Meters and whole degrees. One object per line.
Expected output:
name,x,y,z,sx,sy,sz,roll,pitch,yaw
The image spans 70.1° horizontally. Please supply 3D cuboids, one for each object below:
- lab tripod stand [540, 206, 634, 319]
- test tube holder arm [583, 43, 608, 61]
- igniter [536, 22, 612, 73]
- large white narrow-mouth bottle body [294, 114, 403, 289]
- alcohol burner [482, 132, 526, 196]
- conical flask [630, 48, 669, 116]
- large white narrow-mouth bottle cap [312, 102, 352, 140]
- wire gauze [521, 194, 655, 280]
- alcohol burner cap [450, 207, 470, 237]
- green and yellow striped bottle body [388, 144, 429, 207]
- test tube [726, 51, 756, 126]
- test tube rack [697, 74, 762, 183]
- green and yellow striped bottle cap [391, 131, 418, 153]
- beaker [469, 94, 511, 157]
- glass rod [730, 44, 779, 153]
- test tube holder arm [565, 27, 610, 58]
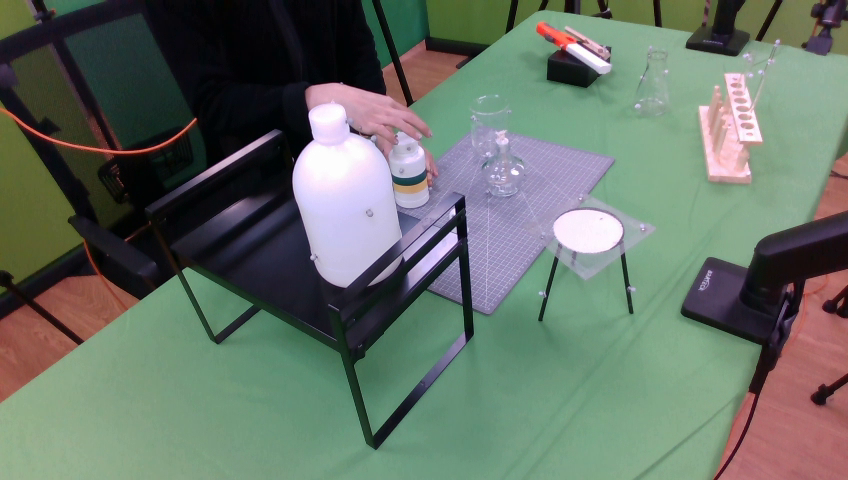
lab tripod stand,0.218,0.034,0.821,0.148,0.132,0.147,-4,42,4
test tube holder arm,0.379,-0.420,1.341,0.010,0.015,0.087,-39,41,10
igniter,0.330,-0.439,1.366,0.057,0.025,0.274,-12,41,-20
large white narrow-mouth bottle body,-0.082,-0.047,0.634,0.102,0.195,0.101,-4,39,4
alcohol burner,0.137,-0.136,1.042,0.078,0.119,0.077,-4,43,4
conical flask,0.456,-0.317,1.205,0.075,0.122,0.075,-4,41,4
large white narrow-mouth bottle cap,-0.089,-0.114,0.579,0.038,0.024,0.037,-3,39,3
wire gauze,0.207,-0.012,0.772,0.122,0.011,0.124,-28,44,-20
alcohol burner cap,0.057,-0.032,0.987,0.034,0.048,0.033,-4,41,4
green and yellow striped bottle body,-0.027,-0.121,1.042,0.063,0.120,0.063,-4,40,4
test tube,0.568,-0.268,1.086,0.017,0.151,0.017,-4,46,4
test tube rack,0.547,-0.208,1.095,0.066,0.085,0.242,5,42,15
green and yellow striped bottle cap,-0.032,-0.163,1.004,0.045,0.020,0.045,-4,39,4
beaker,0.124,-0.216,1.148,0.074,0.101,0.083,-21,42,-16
glass rod,0.555,-0.233,1.020,0.008,0.200,0.008,2,39,-1
test tube holder arm,0.369,-0.450,1.373,0.013,0.015,0.177,-39,41,10
